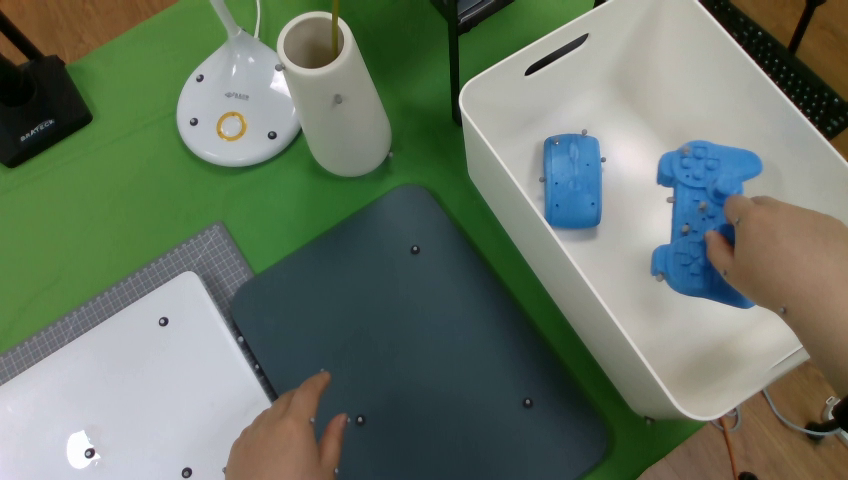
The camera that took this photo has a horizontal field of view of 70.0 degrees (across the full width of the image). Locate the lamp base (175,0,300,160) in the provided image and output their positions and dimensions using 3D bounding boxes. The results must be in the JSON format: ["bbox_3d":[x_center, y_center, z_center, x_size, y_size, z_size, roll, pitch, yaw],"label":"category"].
[{"bbox_3d":[-0.230,-0.207,0.675,0.160,0.181,0.178,-1,69,3],"label":"lamp base"}]

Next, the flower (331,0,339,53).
[{"bbox_3d":[-0.083,-0.189,0.564,0.038,0.364,0.043,-19,61,-20],"label":"flower"}]

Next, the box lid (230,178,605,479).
[{"bbox_3d":[-0.016,0.126,0.642,0.263,0.015,0.369,-34,73,-9],"label":"box lid"}]

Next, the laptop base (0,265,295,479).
[{"bbox_3d":[-0.338,0.211,0.628,0.354,0.023,0.234,-33,77,-8],"label":"laptop base"}]

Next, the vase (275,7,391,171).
[{"bbox_3d":[-0.094,-0.152,0.639,0.098,0.201,0.097,-2,71,5],"label":"vase"}]

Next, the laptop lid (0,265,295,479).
[{"bbox_3d":[-0.336,0.209,0.617,0.357,0.013,0.240,-32,75,-7],"label":"laptop lid"}]

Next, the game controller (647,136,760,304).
[{"bbox_3d":[0.258,-0.024,0.553,0.097,0.052,0.154,7,73,13],"label":"game controller"}]

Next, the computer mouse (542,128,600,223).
[{"bbox_3d":[0.164,-0.075,0.679,0.063,0.041,0.116,3,69,6],"label":"computer mouse"}]

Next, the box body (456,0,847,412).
[{"bbox_3d":[0.227,-0.039,0.603,0.254,0.161,0.361,-31,73,-6],"label":"box body"}]
